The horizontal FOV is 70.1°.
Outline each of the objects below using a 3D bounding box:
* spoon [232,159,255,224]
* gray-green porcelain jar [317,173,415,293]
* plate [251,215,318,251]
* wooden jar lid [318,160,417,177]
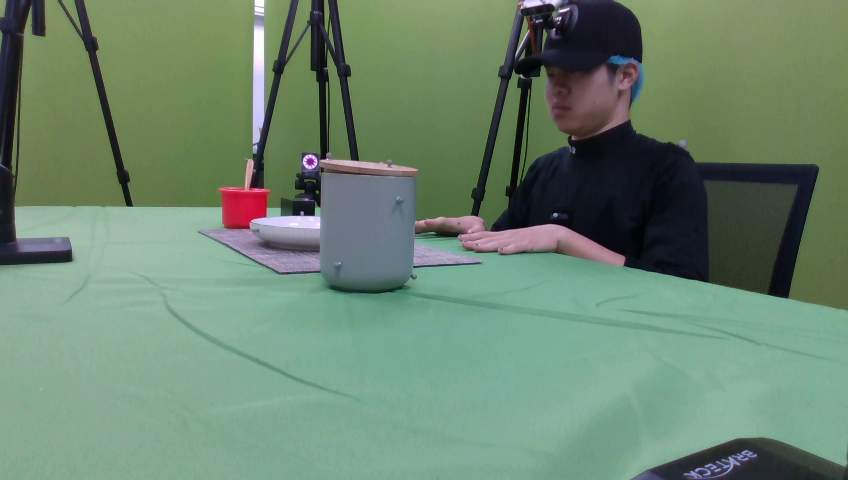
[{"bbox_3d":[-0.356,-0.101,1.218,0.042,0.021,0.193,1,51,-9],"label":"spoon"},{"bbox_3d":[-0.064,-0.010,0.672,0.106,0.126,0.106,3,7,0],"label":"gray-green porcelain jar"},{"bbox_3d":[-0.170,-0.012,0.971,0.208,0.039,0.207,3,7,0],"label":"plate"},{"bbox_3d":[-0.063,-0.073,0.665,0.108,0.020,0.108,5,9,0],"label":"wooden jar lid"}]
